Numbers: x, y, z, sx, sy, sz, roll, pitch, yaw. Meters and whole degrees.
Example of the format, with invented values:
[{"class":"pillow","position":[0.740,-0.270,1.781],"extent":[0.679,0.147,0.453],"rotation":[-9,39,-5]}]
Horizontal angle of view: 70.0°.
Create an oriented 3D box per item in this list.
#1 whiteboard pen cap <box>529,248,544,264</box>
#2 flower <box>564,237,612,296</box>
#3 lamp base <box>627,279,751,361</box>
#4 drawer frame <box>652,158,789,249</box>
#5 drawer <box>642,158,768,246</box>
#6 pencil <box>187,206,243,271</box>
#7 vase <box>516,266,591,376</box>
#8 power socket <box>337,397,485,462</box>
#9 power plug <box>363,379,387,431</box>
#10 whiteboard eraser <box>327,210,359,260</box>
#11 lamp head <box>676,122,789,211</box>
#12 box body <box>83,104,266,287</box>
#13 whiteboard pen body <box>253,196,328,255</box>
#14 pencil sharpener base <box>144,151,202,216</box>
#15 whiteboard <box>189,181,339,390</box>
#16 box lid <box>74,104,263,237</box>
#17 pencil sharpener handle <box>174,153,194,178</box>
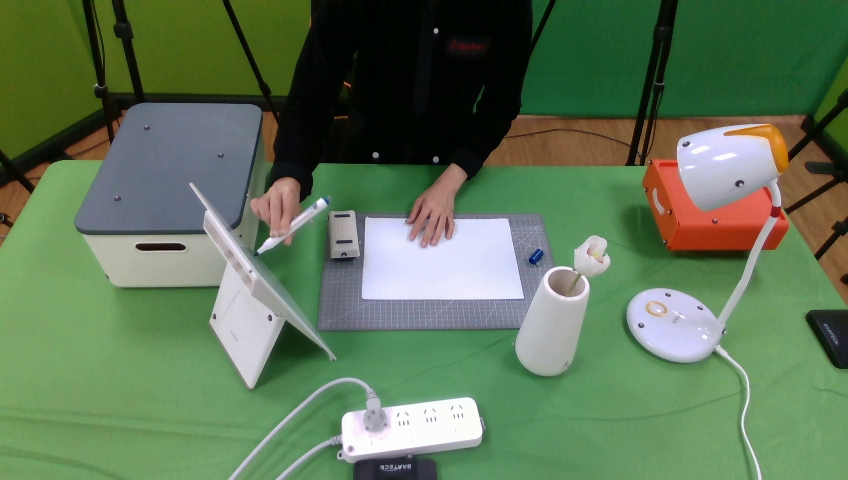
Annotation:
[{"class":"whiteboard pen cap","position":[0.219,0.032,1.183],"extent":[0.018,0.018,0.033],"rotation":[31,51,23]},{"class":"flower","position":[0.206,0.088,0.893],"extent":[0.038,0.363,0.044],"rotation":[-16,67,-9]},{"class":"lamp base","position":[0.460,0.100,1.027],"extent":[0.178,0.181,0.160],"rotation":[27,51,17]},{"class":"drawer frame","position":[0.571,-0.075,1.214],"extent":[0.214,0.083,0.200],"rotation":[0,45,-1]},{"class":"drawer","position":[0.565,-0.076,1.211],"extent":[0.212,0.073,0.193],"rotation":[2,45,-2]},{"class":"pencil","position":[-0.401,-0.009,1.176],"extent":[0.012,0.012,0.193],"rotation":[15,44,10]},{"class":"vase","position":[0.208,0.132,0.964],"extent":[0.098,0.201,0.097],"rotation":[3,46,-3]},{"class":"power socket","position":[-0.018,0.285,0.915],"extent":[0.227,0.033,0.071],"rotation":[-5,46,-8]},{"class":"power plug","position":[-0.072,0.252,0.910],"extent":[0.035,0.053,0.072],"rotation":[3,45,-1]},{"class":"whiteboard eraser","position":[-0.158,-0.010,1.177],"extent":[0.055,0.042,0.112],"rotation":[-6,47,-7]},{"class":"lamp head","position":[0.423,-0.104,0.819],"extent":[0.122,0.113,0.112],"rotation":[-13,33,40]},{"class":"box body","position":[-0.447,-0.088,1.150],"extent":[0.254,0.161,0.361],"rotation":[-1,46,-5]},{"class":"whiteboard pen body","position":[-0.203,-0.021,0.922],"extent":[0.140,0.017,0.017],"rotation":[-40,59,-15]},{"class":"pencil sharpener base","position":[-0.493,-0.112,1.199],"extent":[0.061,0.107,0.076],"rotation":[15,47,11]},{"class":"whiteboard","position":[-0.292,0.096,0.929],"extent":[0.144,0.307,0.216],"rotation":[-37,57,-10]},{"class":"box lid","position":[-0.443,-0.139,1.095],"extent":[0.263,0.015,0.369],"rotation":[-1,45,-5]},{"class":"pencil sharpener handle","position":[-0.479,-0.156,1.225],"extent":[0.036,0.068,0.030],"rotation":[24,48,1]}]
